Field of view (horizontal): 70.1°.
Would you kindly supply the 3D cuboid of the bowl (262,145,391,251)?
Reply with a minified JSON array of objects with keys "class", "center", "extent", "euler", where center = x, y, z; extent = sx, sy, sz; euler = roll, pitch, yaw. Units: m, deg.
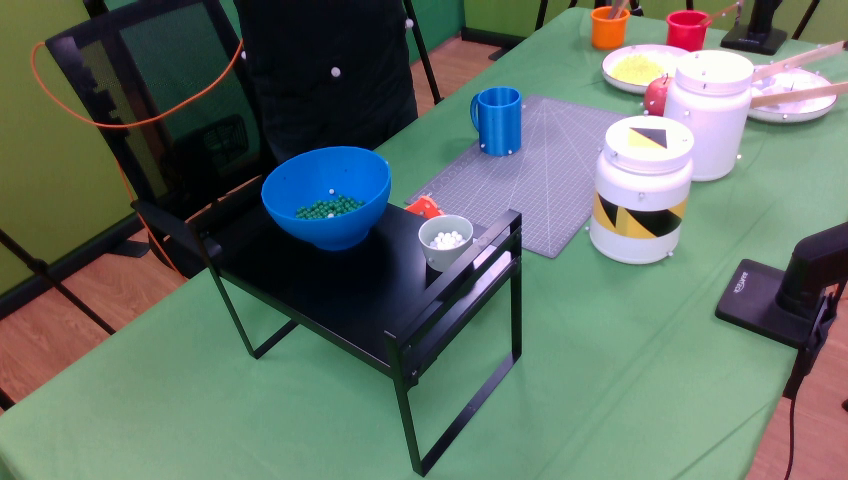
[{"class":"bowl","center":[-0.108,-0.041,0.723],"extent":[0.151,0.077,0.150],"euler":[-4,40,4]}]

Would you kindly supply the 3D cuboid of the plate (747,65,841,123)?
[{"class":"plate","center":[0.694,-0.282,1.189],"extent":[0.207,0.039,0.206],"euler":[-4,40,4]}]

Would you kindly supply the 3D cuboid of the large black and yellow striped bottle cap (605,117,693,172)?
[{"class":"large black and yellow striped bottle cap","center":[0.309,-0.134,0.833],"extent":[0.115,0.019,0.114],"euler":[-5,40,5]}]

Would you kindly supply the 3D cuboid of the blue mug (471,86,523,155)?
[{"class":"blue mug","center":[0.135,-0.235,1.163],"extent":[0.082,0.106,0.115],"euler":[-36,48,-28]}]

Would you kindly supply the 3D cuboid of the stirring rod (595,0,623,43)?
[{"class":"stirring rod","center":[0.460,-0.556,1.460],"extent":[0.014,0.006,0.176],"euler":[30,94,24]}]

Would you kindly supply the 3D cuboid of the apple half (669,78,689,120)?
[{"class":"apple half","center":[0.498,-0.273,1.180],"extent":[0.032,0.082,0.081],"euler":[7,42,25]}]

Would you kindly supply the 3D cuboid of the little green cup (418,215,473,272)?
[{"class":"little green cup","center":[0.026,0.005,0.678],"extent":[0.061,0.039,0.061],"euler":[-4,40,4]}]

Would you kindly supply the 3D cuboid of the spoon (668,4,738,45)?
[{"class":"spoon","center":[0.618,-0.479,1.346],"extent":[0.042,0.021,0.193],"euler":[-26,-1,-20]}]

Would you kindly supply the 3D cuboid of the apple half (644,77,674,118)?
[{"class":"apple half","center":[0.463,-0.279,1.194],"extent":[0.053,0.075,0.081],"euler":[8,46,24]}]

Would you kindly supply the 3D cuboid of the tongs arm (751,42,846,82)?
[{"class":"tongs arm","center":[0.708,-0.331,1.193],"extent":[0.386,0.026,0.050],"euler":[-18,45,-16]}]

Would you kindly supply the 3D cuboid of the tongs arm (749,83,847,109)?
[{"class":"tongs arm","center":[0.734,-0.280,1.133],"extent":[0.388,0.028,0.028],"euler":[-9,47,-5]}]

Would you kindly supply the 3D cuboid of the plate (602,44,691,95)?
[{"class":"plate","center":[0.495,-0.367,1.317],"extent":[0.209,0.038,0.208],"euler":[-4,40,4]}]

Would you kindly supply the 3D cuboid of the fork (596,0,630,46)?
[{"class":"fork","center":[0.481,-0.556,1.452],"extent":[0.028,0.019,0.207],"euler":[40,103,41]}]

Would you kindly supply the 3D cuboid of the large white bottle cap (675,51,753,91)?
[{"class":"large white bottle cap","center":[0.463,-0.271,0.967],"extent":[0.115,0.018,0.114],"euler":[-4,40,4]}]

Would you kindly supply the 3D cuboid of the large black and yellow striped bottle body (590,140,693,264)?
[{"class":"large black and yellow striped bottle body","center":[0.317,-0.071,0.889],"extent":[0.131,0.185,0.130],"euler":[-4,41,4]}]

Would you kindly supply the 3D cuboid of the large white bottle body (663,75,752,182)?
[{"class":"large white bottle body","center":[0.472,-0.207,1.022],"extent":[0.130,0.185,0.130],"euler":[-4,41,4]}]

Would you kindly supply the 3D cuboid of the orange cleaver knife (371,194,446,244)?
[{"class":"orange cleaver knife","center":[-0.032,-0.026,0.964],"extent":[0.210,0.077,0.012],"euler":[-10,29,51]}]
